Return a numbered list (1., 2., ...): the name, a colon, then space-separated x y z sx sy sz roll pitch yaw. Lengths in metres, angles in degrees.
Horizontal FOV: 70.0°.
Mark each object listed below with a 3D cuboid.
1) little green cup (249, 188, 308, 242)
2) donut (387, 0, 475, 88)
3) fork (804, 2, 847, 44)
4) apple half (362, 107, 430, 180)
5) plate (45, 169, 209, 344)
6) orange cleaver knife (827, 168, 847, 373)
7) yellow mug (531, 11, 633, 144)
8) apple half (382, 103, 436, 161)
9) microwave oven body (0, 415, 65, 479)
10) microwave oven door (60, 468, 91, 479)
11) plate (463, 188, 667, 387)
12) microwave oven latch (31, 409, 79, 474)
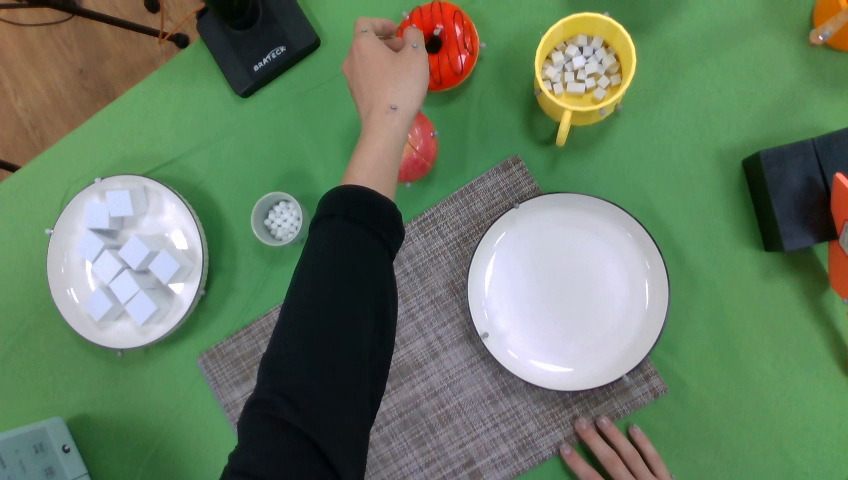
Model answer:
1. little green cup: -0.166 -0.027 0.702 0.061 0.039 0.061 0 88 10
2. donut: 0.008 -0.218 0.677 0.099 0.048 0.099 0 91 10
3. fork: 0.391 -0.213 0.560 0.207 0.018 0.028 -32 82 -37
4. apple half: -0.037 -0.098 0.666 0.053 0.075 0.080 -41 86 10
5. plate: -0.352 0.020 0.731 0.207 0.039 0.207 0 88 9
6. orange cleaver knife: 0.407 0.035 0.585 0.012 0.076 0.213 -12 116 12
7. yellow mug: 0.159 -0.165 0.639 0.099 0.064 0.131 17 92 9
8. apple half: -0.008 -0.124 0.661 0.033 0.081 0.081 -41 82 10
9. microwave oven body: -0.503 0.464 0.626 0.326 0.261 0.440 -29 84 7
10. microwave oven door: -0.357 0.430 0.598 0.039 0.244 0.354 -29 83 7
11. plate: 0.147 0.049 0.645 0.209 0.038 0.209 0 88 10
12. microwave oven latch: -0.443 0.242 0.720 0.030 0.029 0.079 -25 85 7
